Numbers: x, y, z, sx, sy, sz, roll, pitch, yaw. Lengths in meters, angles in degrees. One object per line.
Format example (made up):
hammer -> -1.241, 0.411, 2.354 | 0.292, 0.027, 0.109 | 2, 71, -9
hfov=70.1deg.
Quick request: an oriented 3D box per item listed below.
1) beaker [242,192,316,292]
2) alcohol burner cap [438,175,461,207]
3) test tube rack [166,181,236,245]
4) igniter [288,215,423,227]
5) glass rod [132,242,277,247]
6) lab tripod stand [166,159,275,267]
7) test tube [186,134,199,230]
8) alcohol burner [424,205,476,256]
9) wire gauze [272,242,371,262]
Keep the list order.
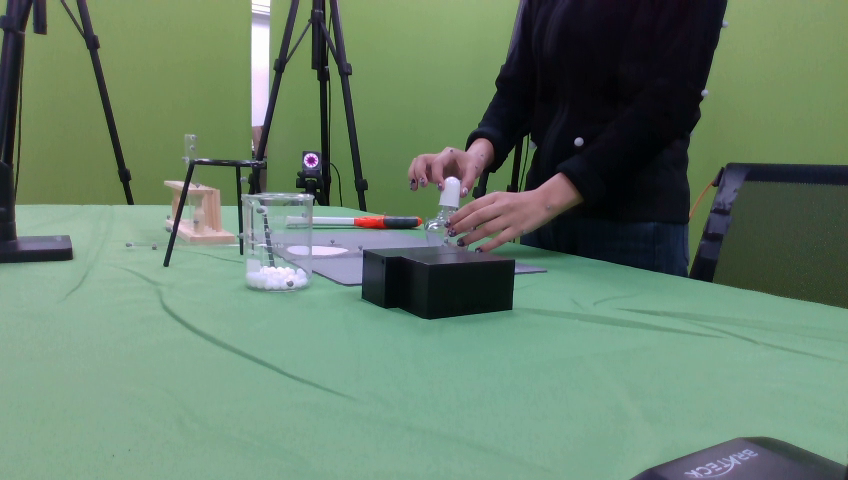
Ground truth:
beaker -> -0.157, 0.000, 0.642 | 0.084, 0.100, 0.074 | 4, 7, 19
alcohol burner cap -> 0.041, -0.074, 0.909 | 0.034, 0.048, 0.034 | 8, 2, 0
test tube rack -> -0.383, -0.051, 1.024 | 0.067, 0.085, 0.241 | -2, 9, -31
igniter -> -0.136, -0.040, 1.240 | 0.278, 0.025, 0.057 | 0, -2, -22
glass rod -> -0.316, 0.007, 0.884 | 0.201, 0.008, 0.008 | 0, 7, -27
lab tripod stand -> -0.249, -0.036, 0.764 | 0.148, 0.131, 0.148 | 2, 9, 0
test tube -> -0.360, -0.089, 0.946 | 0.017, 0.150, 0.017 | 0, 10, 0
alcohol burner -> 0.039, -0.036, 0.912 | 0.078, 0.119, 0.078 | 0, 7, 0
wire gauze -> -0.155, 0.013, 0.877 | 0.122, 0.011, 0.124 | -3, 10, -29
